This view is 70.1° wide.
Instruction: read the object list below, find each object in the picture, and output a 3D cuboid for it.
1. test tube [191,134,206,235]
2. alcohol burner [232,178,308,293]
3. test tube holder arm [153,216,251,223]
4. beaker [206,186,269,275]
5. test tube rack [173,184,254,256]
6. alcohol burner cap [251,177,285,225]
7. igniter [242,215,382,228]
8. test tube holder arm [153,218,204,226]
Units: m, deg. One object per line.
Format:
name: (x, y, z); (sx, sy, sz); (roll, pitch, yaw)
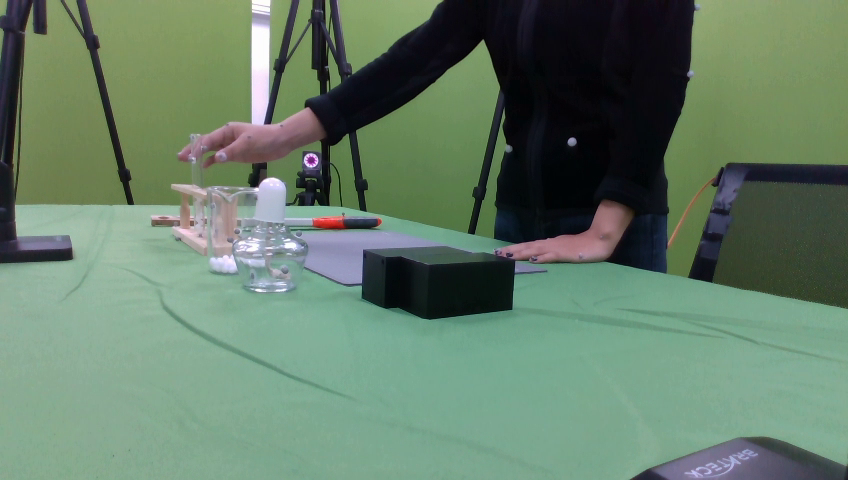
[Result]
test tube: (-0.336, -0.083, 0.903); (0.017, 0.150, 0.017); (0, 5, 0)
alcohol burner: (-0.161, -0.006, 0.632); (0.078, 0.119, 0.078); (1, 8, 0)
test tube holder arm: (-0.422, -0.039, 1.159); (0.179, 0.015, 0.013); (-2, 44, -31)
beaker: (-0.220, -0.011, 0.717); (0.074, 0.100, 0.084); (2, 8, -3)
test tube rack: (-0.328, -0.036, 0.927); (0.067, 0.085, 0.241); (-2, 9, -32)
alcohol burner cap: (-0.160, -0.041, 0.628); (0.034, 0.048, 0.034); (9, 6, -1)
igniter: (-0.213, -0.036, 1.187); (0.278, 0.025, 0.057); (-2, -2, -31)
test tube holder arm: (-0.459, -0.034, 1.133); (0.088, 0.015, 0.010); (-1, 44, -30)
